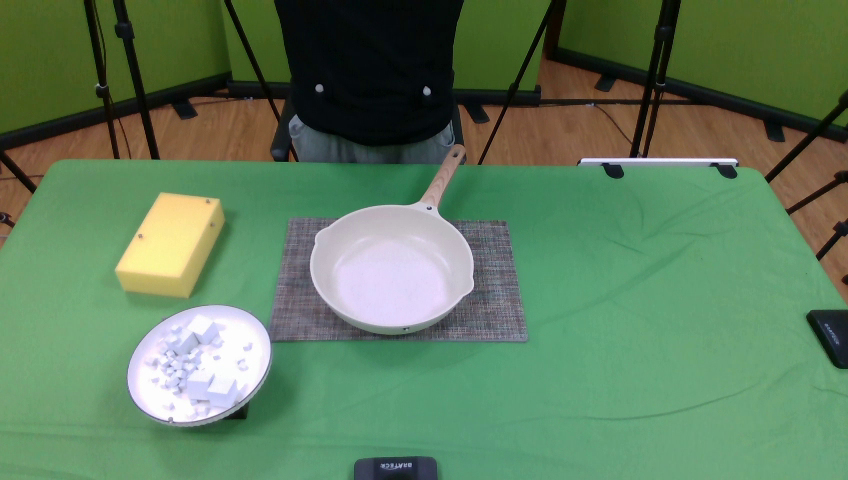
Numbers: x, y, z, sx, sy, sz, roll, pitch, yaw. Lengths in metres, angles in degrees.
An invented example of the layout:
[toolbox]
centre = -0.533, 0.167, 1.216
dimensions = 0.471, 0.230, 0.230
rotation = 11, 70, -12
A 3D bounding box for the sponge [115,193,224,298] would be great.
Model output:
[sponge]
centre = -0.467, 0.005, 1.129
dimensions = 0.118, 0.061, 0.205
rotation = 6, 45, 1

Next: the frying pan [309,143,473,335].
[frying pan]
centre = -0.018, -0.022, 1.155
dimensions = 0.306, 0.103, 0.486
rotation = 20, 56, 13

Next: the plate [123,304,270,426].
[plate]
centre = -0.336, 0.189, 0.913
dimensions = 0.208, 0.039, 0.206
rotation = 1, 46, -1
